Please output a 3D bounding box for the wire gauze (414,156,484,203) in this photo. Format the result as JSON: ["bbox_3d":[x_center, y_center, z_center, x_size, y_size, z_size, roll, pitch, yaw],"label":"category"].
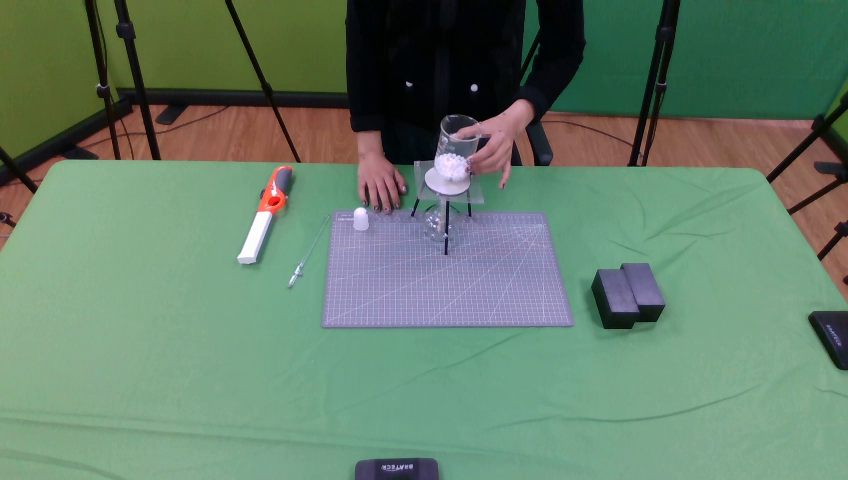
[{"bbox_3d":[0.045,-0.114,1.136,0.125,0.011,0.120,-1,48,-4],"label":"wire gauze"}]

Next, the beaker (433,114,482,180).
[{"bbox_3d":[0.055,-0.166,1.089,0.074,0.101,0.083,-20,54,-27],"label":"beaker"}]

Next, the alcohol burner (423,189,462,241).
[{"bbox_3d":[0.037,-0.055,1.187,0.078,0.120,0.077,1,48,-1],"label":"alcohol burner"}]

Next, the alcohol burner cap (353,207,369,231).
[{"bbox_3d":[-0.127,-0.046,1.216,0.034,0.048,0.033,2,49,-3],"label":"alcohol burner cap"}]

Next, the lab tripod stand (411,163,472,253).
[{"bbox_3d":[0.042,-0.069,1.186,0.148,0.132,0.147,3,47,-3],"label":"lab tripod stand"}]

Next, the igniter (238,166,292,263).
[{"bbox_3d":[-0.319,-0.060,1.229,0.057,0.025,0.275,-2,45,10],"label":"igniter"}]

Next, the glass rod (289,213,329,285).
[{"bbox_3d":[-0.221,0.014,1.179,0.008,0.008,0.199,12,47,9],"label":"glass rod"}]
